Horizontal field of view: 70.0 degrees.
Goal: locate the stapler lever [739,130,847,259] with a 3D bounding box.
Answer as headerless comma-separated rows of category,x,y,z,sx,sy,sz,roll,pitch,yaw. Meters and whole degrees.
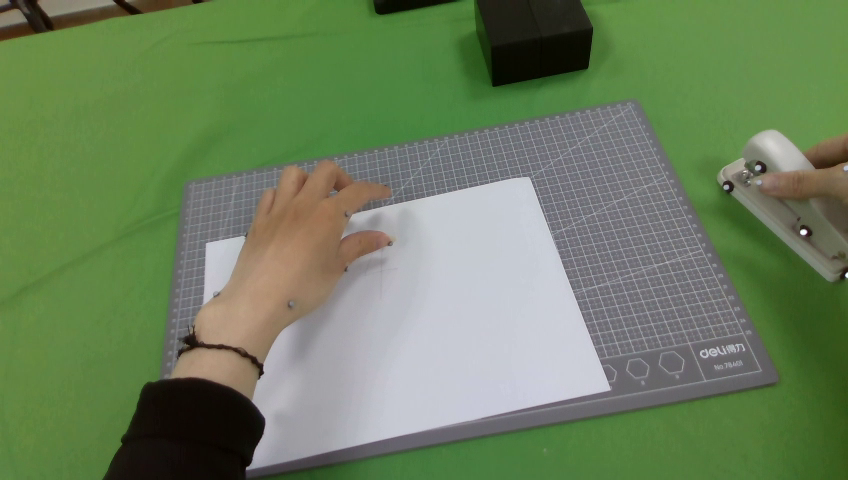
stapler lever,0.294,-0.039,0.468,0.027,0.040,0.117,-30,57,-6

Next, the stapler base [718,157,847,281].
stapler base,0.297,-0.027,0.489,0.041,0.025,0.129,-30,58,-6
